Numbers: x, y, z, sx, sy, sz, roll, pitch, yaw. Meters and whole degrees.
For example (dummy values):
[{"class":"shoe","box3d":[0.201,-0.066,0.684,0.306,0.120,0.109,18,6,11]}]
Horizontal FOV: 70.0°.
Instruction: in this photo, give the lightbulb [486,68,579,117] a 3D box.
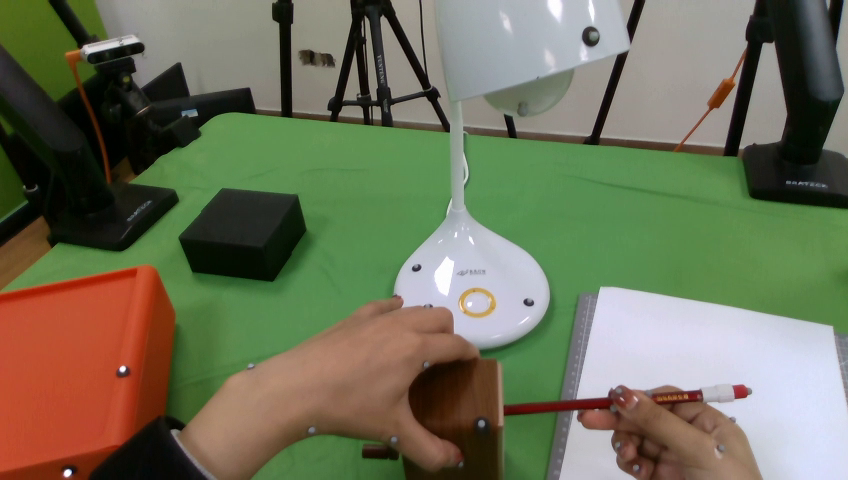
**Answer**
[{"class":"lightbulb","box3d":[0.060,-0.128,0.359,0.059,0.108,0.059,-7,14,2]}]

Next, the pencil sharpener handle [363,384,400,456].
[{"class":"pencil sharpener handle","box3d":[-0.033,0.134,0.437,0.030,0.068,0.035,-2,35,6]}]

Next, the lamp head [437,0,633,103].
[{"class":"lamp head","box3d":[0.054,-0.153,0.360,0.112,0.123,0.112,-18,9,3]}]

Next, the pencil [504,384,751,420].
[{"class":"pencil","box3d":[0.117,0.112,0.410,0.194,0.012,0.012,-8,37,8]}]

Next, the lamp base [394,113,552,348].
[{"class":"lamp base","box3d":[0.041,-0.018,0.584,0.161,0.182,0.177,-11,36,-8]}]

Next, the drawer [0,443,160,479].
[{"class":"drawer","box3d":[-0.323,0.133,0.510,0.195,0.074,0.209,-12,37,-8]}]

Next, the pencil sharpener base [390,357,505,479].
[{"class":"pencil sharpener base","box3d":[0.019,0.141,0.441,0.076,0.108,0.061,-2,39,6]}]

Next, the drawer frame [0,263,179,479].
[{"class":"drawer frame","box3d":[-0.326,0.130,0.510,0.202,0.083,0.211,-12,38,-9]}]
